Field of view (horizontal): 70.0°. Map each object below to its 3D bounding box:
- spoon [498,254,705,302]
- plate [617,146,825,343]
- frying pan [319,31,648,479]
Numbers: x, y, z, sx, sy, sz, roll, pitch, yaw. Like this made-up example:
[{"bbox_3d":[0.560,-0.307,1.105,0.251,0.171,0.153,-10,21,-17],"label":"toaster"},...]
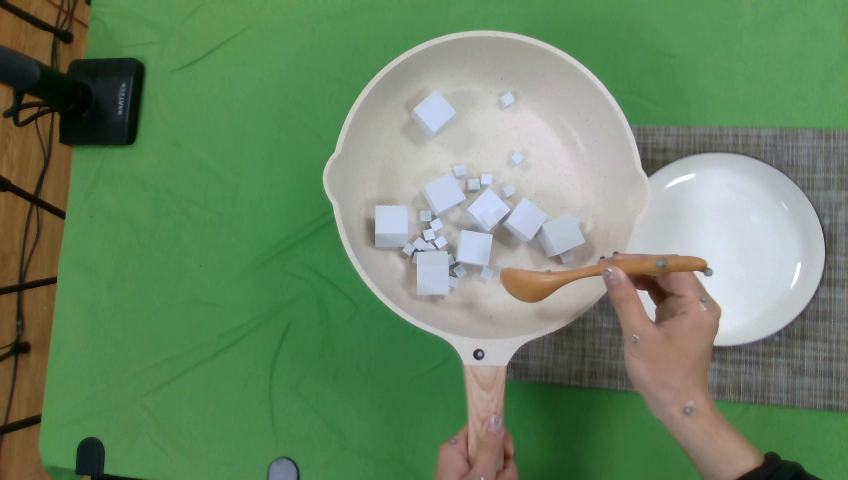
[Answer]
[{"bbox_3d":[0.131,0.027,0.490,0.193,0.021,0.042,-16,115,47],"label":"spoon"},{"bbox_3d":[0.307,0.005,0.649,0.207,0.039,0.207,-1,84,12],"label":"plate"},{"bbox_3d":[0.053,0.053,0.566,0.307,0.103,0.485,3,78,-4],"label":"frying pan"}]
